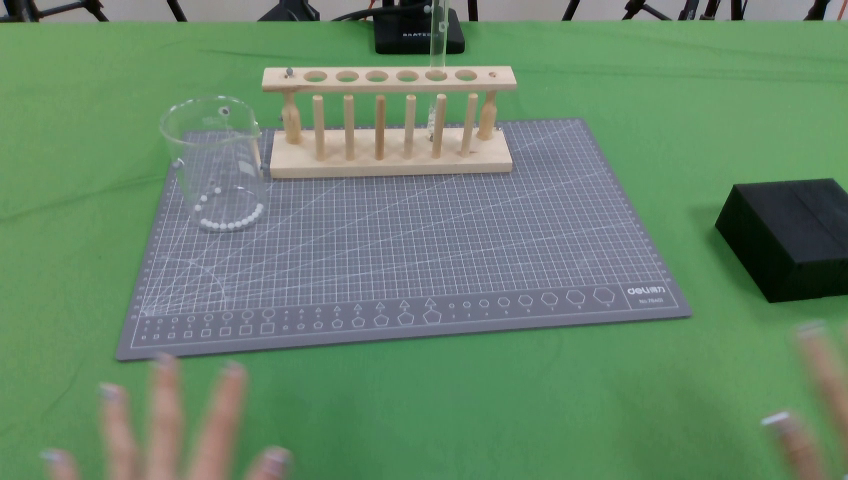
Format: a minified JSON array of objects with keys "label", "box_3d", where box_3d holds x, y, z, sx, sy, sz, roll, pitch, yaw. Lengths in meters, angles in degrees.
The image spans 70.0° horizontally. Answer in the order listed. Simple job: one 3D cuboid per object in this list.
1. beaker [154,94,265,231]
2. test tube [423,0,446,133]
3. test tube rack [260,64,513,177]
[{"label":"beaker","box_3d":[-0.178,-0.064,0.528,0.084,0.101,0.073,11,45,7]},{"label":"test tube","box_3d":[0.010,-0.172,0.589,0.017,0.151,0.017,2,40,-1]},{"label":"test tube rack","box_3d":[-0.035,-0.120,0.605,0.243,0.086,0.066,-2,45,-6]}]
